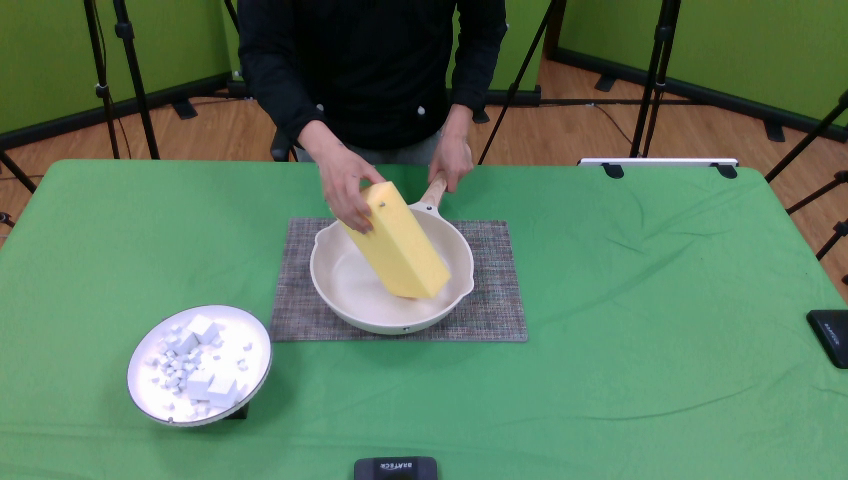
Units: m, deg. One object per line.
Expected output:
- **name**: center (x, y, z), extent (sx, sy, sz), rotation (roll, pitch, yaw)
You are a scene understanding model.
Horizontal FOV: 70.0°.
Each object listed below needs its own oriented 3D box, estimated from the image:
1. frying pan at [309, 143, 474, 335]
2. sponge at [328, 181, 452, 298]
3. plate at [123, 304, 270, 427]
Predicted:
- **frying pan**: center (-0.017, -0.022, 1.155), extent (0.306, 0.103, 0.486), rotation (20, 56, 13)
- **sponge**: center (-0.057, 0.004, 1.031), extent (0.118, 0.208, 0.061), rotation (-1, 41, 48)
- **plate**: center (-0.336, 0.189, 0.913), extent (0.208, 0.039, 0.206), rotation (1, 46, -1)
